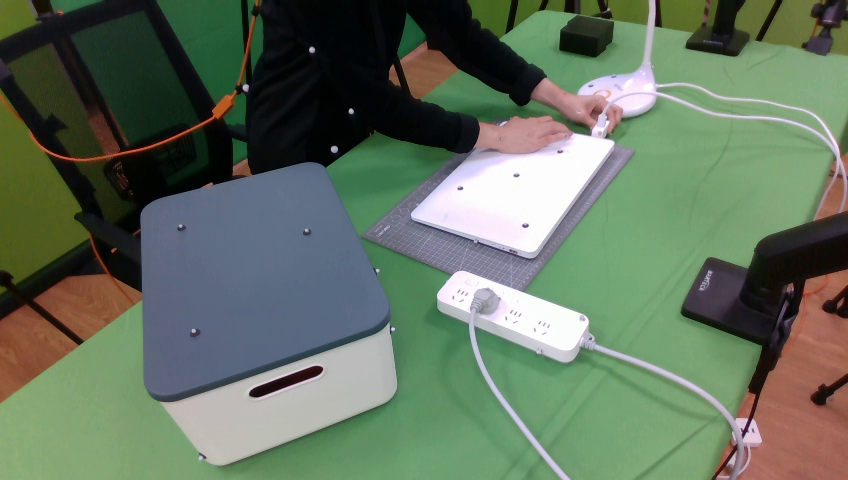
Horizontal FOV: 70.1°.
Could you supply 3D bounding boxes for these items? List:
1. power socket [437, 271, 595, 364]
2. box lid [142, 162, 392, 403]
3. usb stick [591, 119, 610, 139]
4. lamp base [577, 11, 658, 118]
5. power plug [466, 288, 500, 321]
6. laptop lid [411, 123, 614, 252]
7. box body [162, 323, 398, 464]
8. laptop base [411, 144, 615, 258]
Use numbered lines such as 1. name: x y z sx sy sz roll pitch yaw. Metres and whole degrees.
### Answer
1. power socket: 0.118 0.102 0.830 0.225 0.033 0.072 20 48 28
2. box lid: -0.212 0.025 0.752 0.264 0.015 0.368 -17 41 -13
3. usb stick: 0.335 -0.205 1.155 0.021 0.027 0.059 20 48 22
4. lamp base: 0.406 -0.363 1.222 0.180 0.181 0.159 -20 42 -18
5. power plug: 0.072 0.093 0.813 0.073 0.053 0.035 -37 49 -28
6. laptop lid: 0.164 -0.111 1.069 0.240 0.013 0.357 19 46 31
7. box body: -0.205 0.080 0.802 0.255 0.161 0.361 -18 41 -13
8. laptop base: 0.167 -0.102 1.075 0.234 0.023 0.355 16 45 30
